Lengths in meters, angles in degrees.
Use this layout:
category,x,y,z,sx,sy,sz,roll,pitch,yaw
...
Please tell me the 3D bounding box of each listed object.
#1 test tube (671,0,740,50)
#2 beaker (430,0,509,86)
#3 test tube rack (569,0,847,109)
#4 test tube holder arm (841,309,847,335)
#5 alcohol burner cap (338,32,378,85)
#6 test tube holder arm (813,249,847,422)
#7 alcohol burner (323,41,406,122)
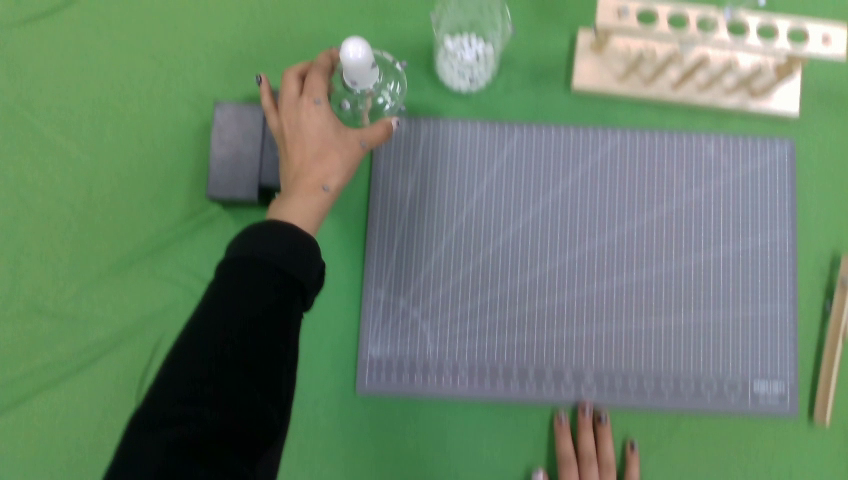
category,x,y,z,sx,sy,sz,roll,pitch,yaw
test tube,0.271,-0.213,0.569,0.017,0.150,0.017,0,85,-3
beaker,0.042,-0.202,0.608,0.074,0.100,0.084,6,84,0
test tube rack,0.280,-0.193,0.617,0.242,0.085,0.066,7,84,0
test tube holder arm,0.436,0.055,0.627,0.010,0.015,0.087,18,84,-32
alcohol burner cap,-0.058,-0.158,0.521,0.034,0.048,0.033,0,77,2
test tube holder arm,0.420,0.097,0.620,0.013,0.015,0.178,17,85,-32
alcohol burner,-0.057,-0.153,0.557,0.078,0.119,0.077,0,81,1
